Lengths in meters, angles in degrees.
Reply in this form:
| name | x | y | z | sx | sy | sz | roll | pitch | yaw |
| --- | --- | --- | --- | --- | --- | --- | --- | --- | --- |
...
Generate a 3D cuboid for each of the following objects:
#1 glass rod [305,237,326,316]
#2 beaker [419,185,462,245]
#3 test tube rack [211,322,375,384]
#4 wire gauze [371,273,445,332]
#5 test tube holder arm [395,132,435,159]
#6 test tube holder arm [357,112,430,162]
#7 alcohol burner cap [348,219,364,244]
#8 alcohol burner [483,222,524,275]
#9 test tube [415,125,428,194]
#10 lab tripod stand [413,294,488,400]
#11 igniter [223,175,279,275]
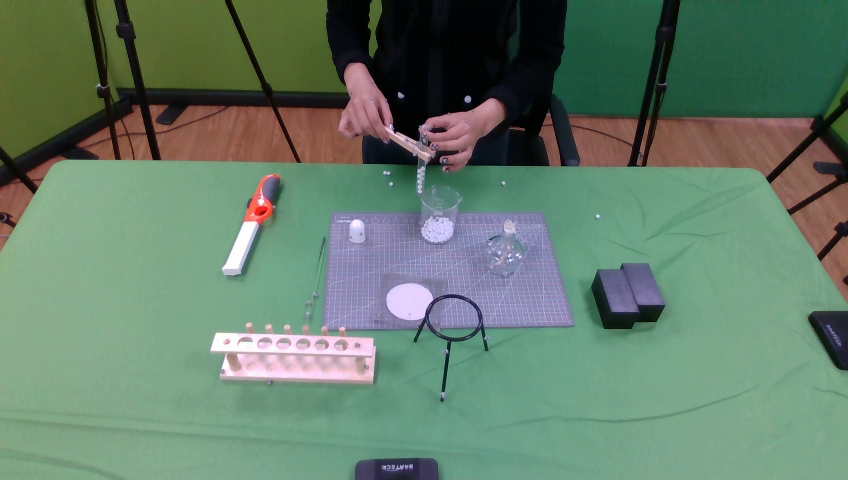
| name | x | y | z | sx | sy | sz | roll | pitch | yaw |
| --- | --- | --- | --- | --- | --- | --- | --- | --- | --- |
| glass rod | -0.202 | 0.064 | 1.131 | 0.008 | 0.008 | 0.198 | 3 | 43 | 0 |
| beaker | 0.029 | -0.047 | 1.191 | 0.084 | 0.101 | 0.073 | -5 | 47 | -10 |
| test tube rack | -0.203 | 0.176 | 0.969 | 0.242 | 0.085 | 0.066 | 3 | 46 | -2 |
| wire gauze | -0.028 | 0.108 | 1.100 | 0.125 | 0.011 | 0.121 | 7 | 45 | 4 |
| test tube holder arm | -0.019 | -0.172 | 1.098 | 0.087 | 0.015 | 0.010 | 27 | 46 | 18 |
| test tube holder arm | -0.058 | -0.191 | 1.111 | 0.177 | 0.015 | 0.013 | 33 | 48 | 23 |
| alcohol burner cap | -0.134 | -0.019 | 1.190 | 0.034 | 0.048 | 0.033 | 2 | 46 | -2 |
| alcohol burner | 0.152 | 0.009 | 1.135 | 0.078 | 0.119 | 0.077 | 4 | 47 | -4 |
| test tube | -0.006 | -0.143 | 1.102 | 0.017 | 0.151 | 0.017 | 3 | 45 | -3 |
| lab tripod stand | 0.044 | 0.159 | 0.972 | 0.148 | 0.132 | 0.147 | 2 | 44 | -2 |
| igniter | -0.341 | -0.039 | 1.207 | 0.057 | 0.025 | 0.275 | -1 | 45 | 9 |
